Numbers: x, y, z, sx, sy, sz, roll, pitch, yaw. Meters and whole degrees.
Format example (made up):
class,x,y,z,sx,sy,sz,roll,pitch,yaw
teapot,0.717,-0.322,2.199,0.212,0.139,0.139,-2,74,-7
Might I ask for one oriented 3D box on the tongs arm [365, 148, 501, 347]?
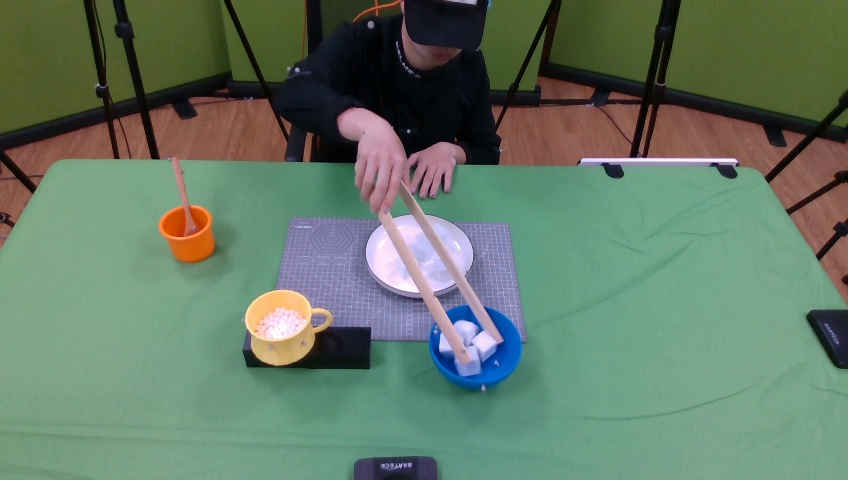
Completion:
class,x,y,z,sx,sy,sz,roll,pitch,yaw
tongs arm,0.016,0.009,1.008,0.028,0.028,0.386,-26,81,-41

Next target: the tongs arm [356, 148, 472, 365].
class,x,y,z,sx,sy,sz,roll,pitch,yaw
tongs arm,-0.015,0.020,0.975,0.051,0.026,0.384,-22,78,-44

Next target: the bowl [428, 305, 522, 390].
class,x,y,z,sx,sy,sz,roll,pitch,yaw
bowl,0.078,0.187,0.985,0.151,0.077,0.150,3,45,-3

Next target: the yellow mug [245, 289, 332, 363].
class,x,y,z,sx,sy,sz,roll,pitch,yaw
yellow mug,-0.211,0.132,0.954,0.131,0.064,0.099,-9,48,-14

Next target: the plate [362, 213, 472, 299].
class,x,y,z,sx,sy,sz,roll,pitch,yaw
plate,-0.013,0.034,1.150,0.208,0.039,0.206,3,46,-2

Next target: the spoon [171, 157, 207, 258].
class,x,y,z,sx,sy,sz,roll,pitch,yaw
spoon,-0.444,-0.061,1.133,0.042,0.193,0.021,-12,4,-20
